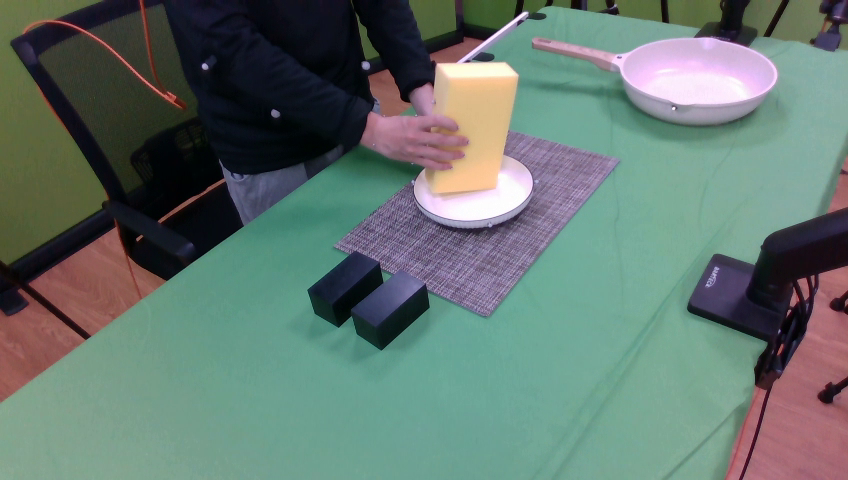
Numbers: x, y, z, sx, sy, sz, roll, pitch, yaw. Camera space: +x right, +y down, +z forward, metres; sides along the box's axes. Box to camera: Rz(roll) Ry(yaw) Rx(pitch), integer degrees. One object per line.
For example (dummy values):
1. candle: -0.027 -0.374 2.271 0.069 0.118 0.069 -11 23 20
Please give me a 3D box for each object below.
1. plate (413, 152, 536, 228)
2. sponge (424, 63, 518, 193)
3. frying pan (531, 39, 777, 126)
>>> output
1. plate: 0.086 -0.085 1.038 0.207 0.039 0.206 -4 41 4
2. sponge: 0.073 -0.182 1.001 0.119 0.207 0.060 -5 38 -17
3. frying pan: 0.452 -0.354 1.254 0.485 0.103 0.307 22 47 19
